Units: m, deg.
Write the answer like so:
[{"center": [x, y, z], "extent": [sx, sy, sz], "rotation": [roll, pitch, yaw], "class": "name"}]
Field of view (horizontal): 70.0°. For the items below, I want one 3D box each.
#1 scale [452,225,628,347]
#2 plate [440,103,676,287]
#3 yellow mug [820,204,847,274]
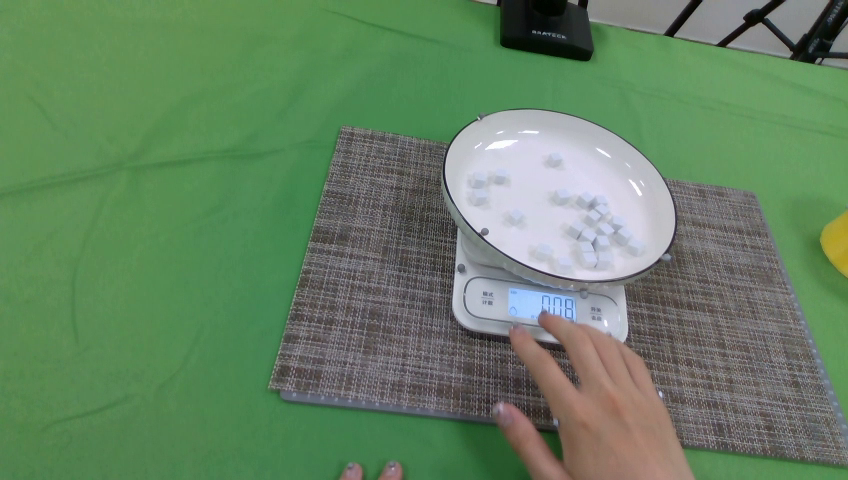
[{"center": [0.104, -0.003, 0.545], "extent": [0.149, 0.032, 0.199], "rotation": [9, 50, -3], "class": "scale"}, {"center": [0.115, -0.041, 0.536], "extent": [0.209, 0.038, 0.207], "rotation": [6, 51, -6], "class": "plate"}, {"center": [0.461, 0.004, 0.589], "extent": [0.100, 0.064, 0.129], "rotation": [7, 51, -5], "class": "yellow mug"}]
